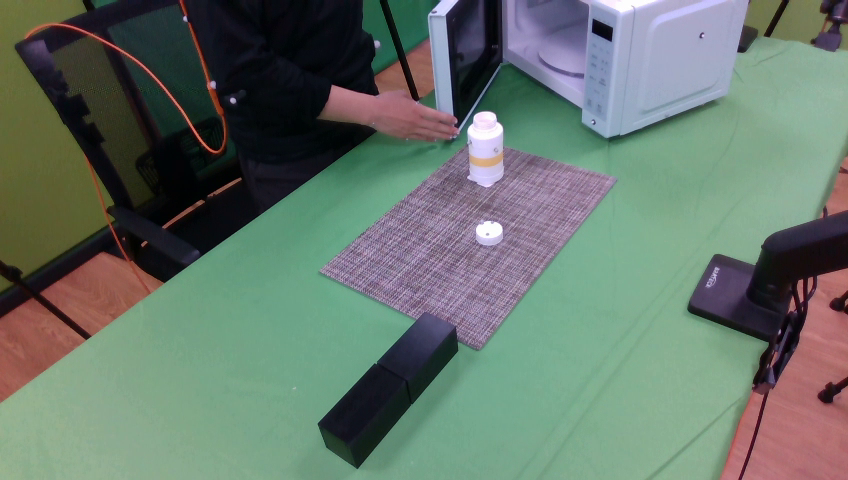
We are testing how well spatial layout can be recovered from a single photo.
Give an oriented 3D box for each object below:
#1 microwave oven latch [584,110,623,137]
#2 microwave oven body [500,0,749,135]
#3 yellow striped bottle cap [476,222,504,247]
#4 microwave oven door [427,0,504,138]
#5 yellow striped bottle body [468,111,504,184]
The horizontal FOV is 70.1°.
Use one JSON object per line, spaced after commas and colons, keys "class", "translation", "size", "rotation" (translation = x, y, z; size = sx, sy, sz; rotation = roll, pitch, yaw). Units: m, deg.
{"class": "microwave oven latch", "translation": [0.337, -0.222, 1.142], "size": [0.030, 0.029, 0.078], "rotation": [-21, 42, -15]}
{"class": "microwave oven body", "translation": [0.381, -0.444, 1.246], "size": [0.327, 0.261, 0.437], "rotation": [-22, 42, -16]}
{"class": "yellow striped bottle cap", "translation": [0.105, -0.010, 0.966], "size": [0.044, 0.019, 0.044], "rotation": [-3, 39, 3]}
{"class": "microwave oven door", "translation": [0.095, -0.406, 1.234], "size": [0.039, 0.245, 0.355], "rotation": [10, 44, 20]}
{"class": "yellow striped bottle body", "translation": [0.109, -0.164, 1.064], "size": [0.063, 0.121, 0.062], "rotation": [-4, 41, 4]}
